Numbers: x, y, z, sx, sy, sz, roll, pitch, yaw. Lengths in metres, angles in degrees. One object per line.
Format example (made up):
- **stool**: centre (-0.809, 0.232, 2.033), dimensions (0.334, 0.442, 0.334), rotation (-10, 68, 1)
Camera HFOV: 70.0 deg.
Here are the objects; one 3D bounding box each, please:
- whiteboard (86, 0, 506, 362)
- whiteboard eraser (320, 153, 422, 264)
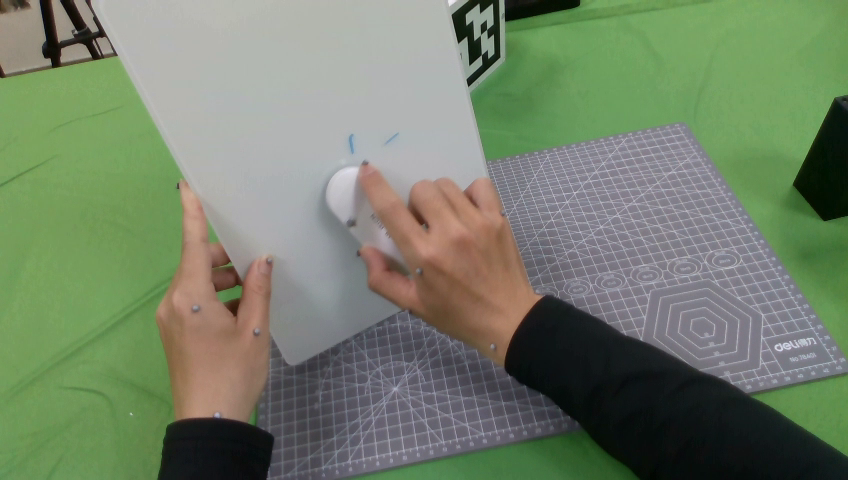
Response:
- **whiteboard**: centre (-0.087, -0.097, 0.498), dimensions (0.217, 0.308, 0.142), rotation (-27, 34, -13)
- **whiteboard eraser**: centre (-0.039, -0.023, 0.462), dimensions (0.041, 0.102, 0.018), rotation (-42, 30, -6)
